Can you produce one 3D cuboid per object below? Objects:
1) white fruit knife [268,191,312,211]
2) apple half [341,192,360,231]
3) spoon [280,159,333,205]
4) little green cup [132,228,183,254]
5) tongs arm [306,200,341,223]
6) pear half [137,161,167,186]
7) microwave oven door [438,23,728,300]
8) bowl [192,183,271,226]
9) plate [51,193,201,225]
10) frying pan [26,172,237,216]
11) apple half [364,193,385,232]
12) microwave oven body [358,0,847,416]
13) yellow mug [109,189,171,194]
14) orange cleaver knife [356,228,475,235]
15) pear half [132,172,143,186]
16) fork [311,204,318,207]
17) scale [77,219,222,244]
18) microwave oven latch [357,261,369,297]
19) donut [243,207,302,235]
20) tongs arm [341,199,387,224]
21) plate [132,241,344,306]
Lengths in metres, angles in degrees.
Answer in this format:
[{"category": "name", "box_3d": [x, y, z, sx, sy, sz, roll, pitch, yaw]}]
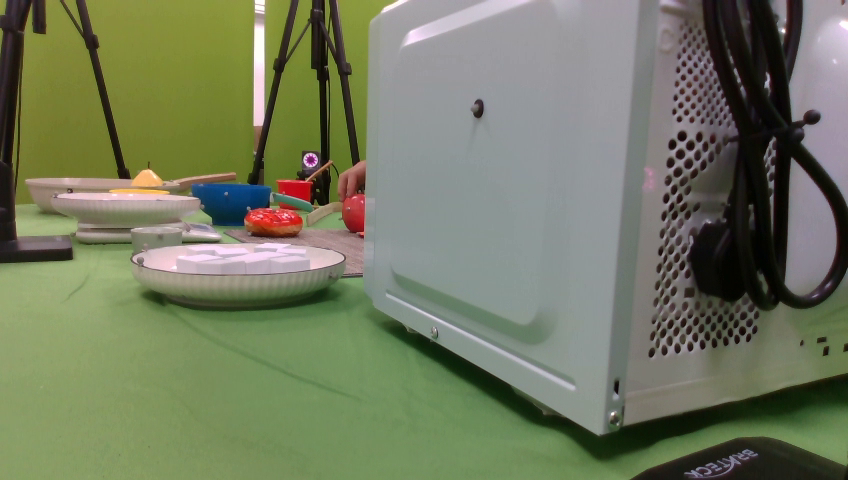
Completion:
[{"category": "white fruit knife", "box_3d": [-0.364, -0.105, 1.464, 0.208, 0.027, 0.016, 15, 0, -34]}, {"category": "apple half", "box_3d": [-0.130, -0.054, 1.143, 0.053, 0.074, 0.081, -1, 10, 6]}, {"category": "spoon", "box_3d": [-0.317, -0.159, 1.640, 0.194, 0.022, 0.041, -49, 32, -20]}, {"category": "little green cup", "box_3d": [-0.342, 0.006, 0.779, 0.061, 0.038, 0.061, 2, 8, 0]}, {"category": "tongs arm", "box_3d": [-0.233, -0.070, 1.415, 0.028, 0.028, 0.387, -4, 7, 1]}, {"category": "pear half", "box_3d": [-0.602, -0.120, 1.354, 0.056, 0.110, 0.076, 4, 11, 6]}, {"category": "microwave oven door", "box_3d": [0.181, -0.073, 0.621, 0.358, 0.243, 0.039, -2, 8, -29]}, {"category": "bowl", "box_3d": [-0.382, -0.071, 1.202, 0.151, 0.077, 0.151, 3, 7, 0]}, {"category": "plate", "box_3d": [-0.460, -0.050, 0.945, 0.209, 0.038, 0.209, 2, 7, 0]}, {"category": "frying pan", "box_3d": [-0.624, -0.118, 1.387, 0.305, 0.102, 0.490, 8, 17, 32]}, {"category": "apple half", "box_3d": [-0.089, -0.054, 1.139, 0.033, 0.081, 0.081, -4, 7, 8]}, {"category": "microwave oven body", "box_3d": [0.211, -0.047, 0.474, 0.444, 0.260, 0.324, -1, 7, -28]}, {"category": "yellow mug", "box_3d": [-0.519, -0.055, 1.080, 0.099, 0.064, 0.131, 7, 9, 26]}, {"category": "orange cleaver knife", "box_3d": [-0.017, -0.015, 1.080, 0.211, 0.012, 0.077, 0, 2, -2]}, {"category": "pear half", "box_3d": [-0.638, -0.113, 1.361, 0.031, 0.088, 0.070, 5, 10, 4]}, {"category": "fork", "box_3d": [-0.356, -0.105, 1.526, 0.208, 0.018, 0.028, 16, -6, -41]}, {"category": "scale", "box_3d": [-0.434, -0.018, 0.963, 0.202, 0.031, 0.148, -1, 9, -27]}, {"category": "microwave oven latch", "box_3d": [-0.019, 0.033, 0.530, 0.079, 0.029, 0.030, -1, 7, -26]}, {"category": "donut", "box_3d": [-0.261, -0.032, 1.043, 0.099, 0.048, 0.099, 4, 9, 0]}, {"category": "tongs arm", "box_3d": [-0.148, -0.070, 1.429, 0.051, 0.026, 0.383, -3, 8, -14]}, {"category": "plate", "box_3d": [-0.187, 0.033, 0.625, 0.208, 0.039, 0.207, 2, 7, 0]}]
